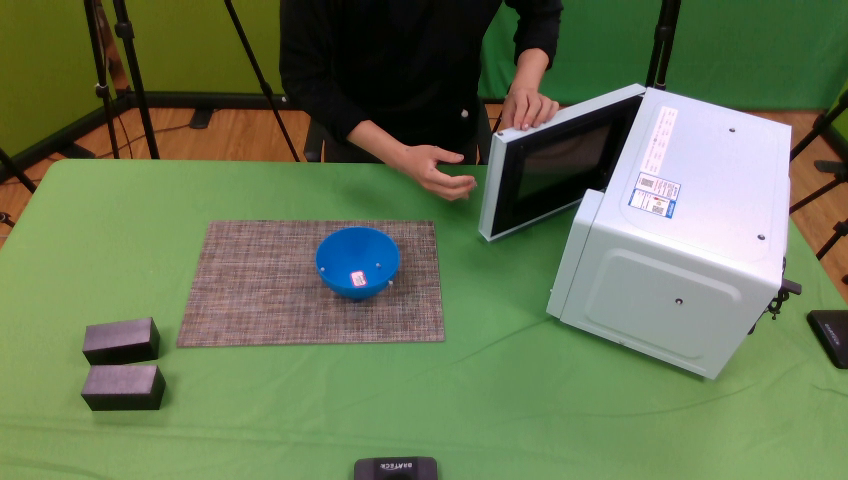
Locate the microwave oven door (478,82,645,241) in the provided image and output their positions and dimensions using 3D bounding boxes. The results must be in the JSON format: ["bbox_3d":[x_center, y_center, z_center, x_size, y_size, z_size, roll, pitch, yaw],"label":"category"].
[{"bbox_3d":[0.271,-0.155,1.190,0.356,0.245,0.039,-23,52,-24],"label":"microwave oven door"}]

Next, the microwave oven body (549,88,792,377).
[{"bbox_3d":[0.456,-0.028,1.088,0.325,0.261,0.440,20,47,16],"label":"microwave oven body"}]

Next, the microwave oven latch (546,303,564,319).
[{"bbox_3d":[0.242,0.102,1.081,0.030,0.029,0.079,21,48,17],"label":"microwave oven latch"}]

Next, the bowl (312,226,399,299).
[{"bbox_3d":[-0.120,0.054,1.091,0.151,0.077,0.150,2,46,-2],"label":"bowl"}]
